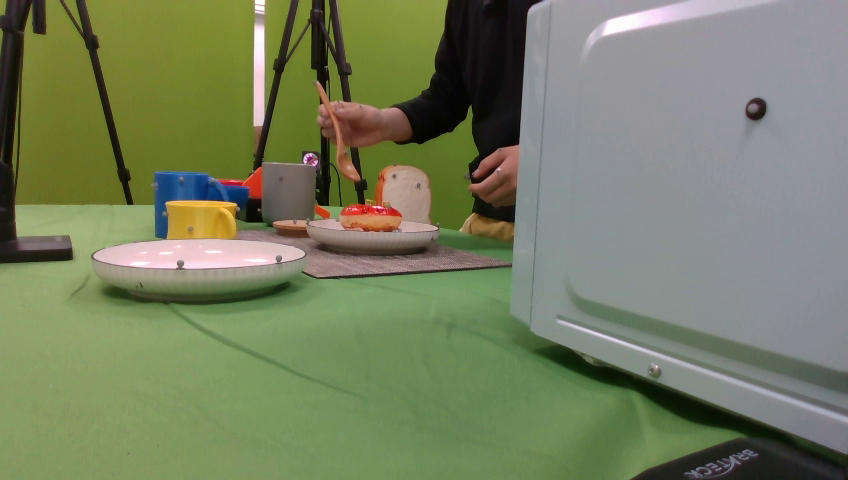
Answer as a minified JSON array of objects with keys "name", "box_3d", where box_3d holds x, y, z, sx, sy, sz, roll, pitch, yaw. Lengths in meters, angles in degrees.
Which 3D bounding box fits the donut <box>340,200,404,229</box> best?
[{"name":"donut","box_3d":[-0.081,-0.038,0.944,0.099,0.048,0.099,1,4,0]}]

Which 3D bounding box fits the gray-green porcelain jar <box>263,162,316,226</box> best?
[{"name":"gray-green porcelain jar","box_3d":[-0.271,-0.092,1.217,0.106,0.126,0.106,2,7,0]}]

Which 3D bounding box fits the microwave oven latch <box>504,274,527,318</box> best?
[{"name":"microwave oven latch","box_3d":[0.100,0.041,0.471,0.079,0.029,0.030,-1,8,-28]}]

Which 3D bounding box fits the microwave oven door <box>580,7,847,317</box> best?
[{"name":"microwave oven door","box_3d":[0.294,-0.067,0.570,0.358,0.243,0.039,-3,9,-31]}]

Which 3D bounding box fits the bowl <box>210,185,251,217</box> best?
[{"name":"bowl","box_3d":[-0.408,-0.064,1.155,0.151,0.077,0.151,2,8,0]}]

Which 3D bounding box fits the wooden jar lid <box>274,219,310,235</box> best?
[{"name":"wooden jar lid","box_3d":[-0.213,-0.023,1.080,0.108,0.020,0.108,3,7,0]}]

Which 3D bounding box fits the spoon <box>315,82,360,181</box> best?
[{"name":"spoon","box_3d":[-0.144,-0.180,0.989,0.021,0.193,0.042,-28,-18,33]}]

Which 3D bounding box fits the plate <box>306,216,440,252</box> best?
[{"name":"plate","box_3d":[-0.079,-0.011,0.950,0.209,0.038,0.209,2,8,0]}]

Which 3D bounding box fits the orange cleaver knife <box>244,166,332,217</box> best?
[{"name":"orange cleaver knife","box_3d":[-0.301,-0.089,1.351,0.212,0.077,0.012,32,-11,-34]}]

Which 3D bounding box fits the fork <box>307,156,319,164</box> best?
[{"name":"fork","box_3d":[-0.331,-0.144,1.505,0.207,0.018,0.028,-42,-21,22]}]

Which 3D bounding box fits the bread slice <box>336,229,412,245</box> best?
[{"name":"bread slice","box_3d":[-0.074,-0.005,0.938,0.105,0.019,0.131,-2,4,-19]}]

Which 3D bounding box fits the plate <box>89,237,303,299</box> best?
[{"name":"plate","box_3d":[-0.233,0.029,0.637,0.208,0.039,0.207,2,7,0]}]

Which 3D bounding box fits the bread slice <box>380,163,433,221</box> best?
[{"name":"bread slice","box_3d":[-0.035,-0.076,1.125,0.107,0.134,0.018,-4,2,-25]}]

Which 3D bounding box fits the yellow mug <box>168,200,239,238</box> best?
[{"name":"yellow mug","box_3d":[-0.320,-0.023,0.904,0.130,0.064,0.100,9,11,36]}]

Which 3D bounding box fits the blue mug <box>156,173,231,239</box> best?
[{"name":"blue mug","box_3d":[-0.381,-0.057,1.004,0.117,0.106,0.082,0,8,-12]}]

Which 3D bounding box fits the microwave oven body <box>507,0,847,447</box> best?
[{"name":"microwave oven body","box_3d":[0.331,-0.042,0.425,0.444,0.260,0.324,-2,8,-31]}]
